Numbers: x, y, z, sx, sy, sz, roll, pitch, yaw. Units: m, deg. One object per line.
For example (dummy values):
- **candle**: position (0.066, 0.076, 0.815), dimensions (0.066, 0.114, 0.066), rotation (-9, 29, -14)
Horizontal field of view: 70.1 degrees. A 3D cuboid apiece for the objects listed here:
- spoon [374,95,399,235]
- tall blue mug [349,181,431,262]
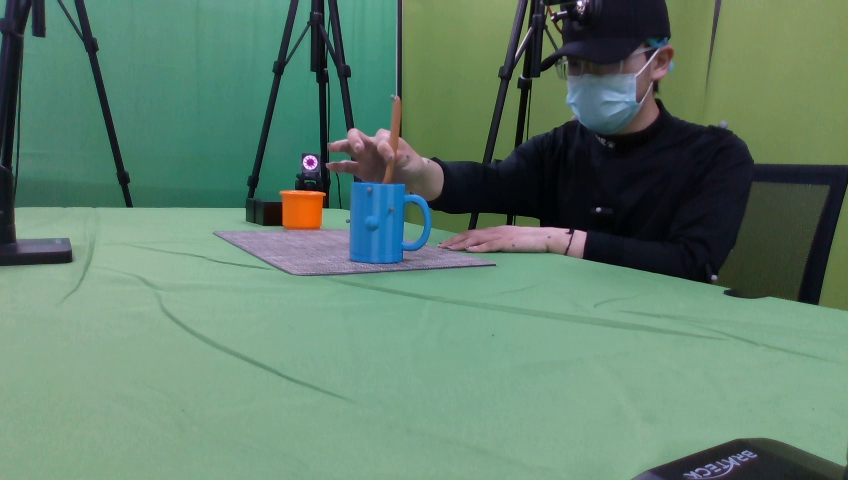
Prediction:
- **spoon**: position (-0.045, -0.098, 0.816), dimensions (0.042, 0.193, 0.021), rotation (3, 6, -42)
- **tall blue mug**: position (-0.051, -0.028, 0.849), dimensions (0.108, 0.108, 0.077), rotation (-1, 7, -22)
